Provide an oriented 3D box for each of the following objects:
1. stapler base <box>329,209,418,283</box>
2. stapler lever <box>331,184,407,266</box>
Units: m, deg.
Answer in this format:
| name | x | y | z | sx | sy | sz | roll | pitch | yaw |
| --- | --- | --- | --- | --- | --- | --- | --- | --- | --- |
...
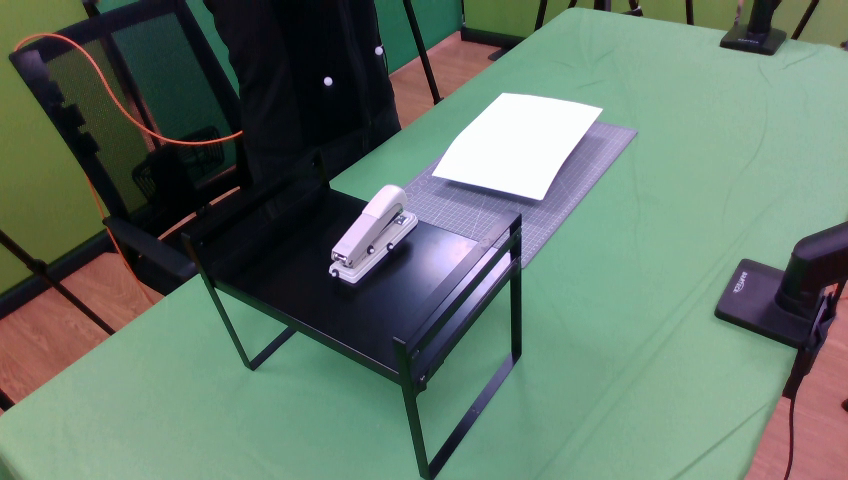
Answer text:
| name | x | y | z | sx | sy | sz | roll | pitch | yaw |
| --- | --- | --- | --- | --- | --- | --- | --- | --- | --- |
| stapler base | -0.058 | -0.002 | 0.708 | 0.041 | 0.024 | 0.131 | 18 | 48 | 31 |
| stapler lever | -0.061 | -0.020 | 0.690 | 0.026 | 0.040 | 0.118 | 18 | 48 | 31 |
